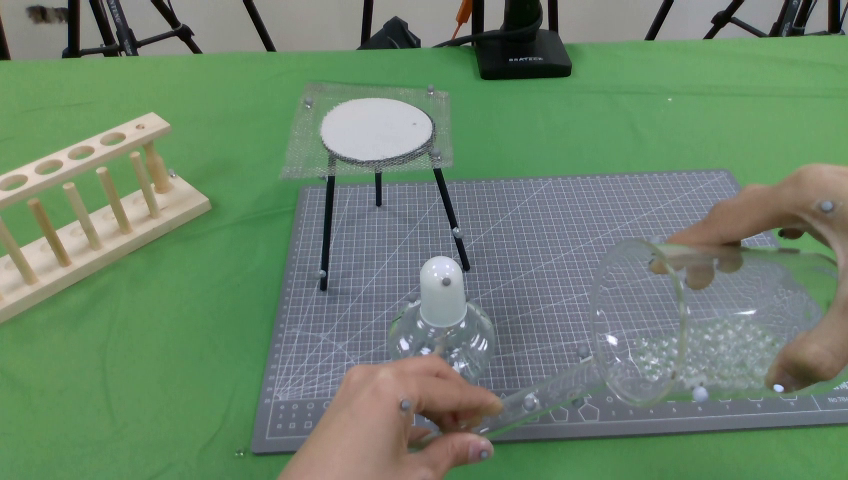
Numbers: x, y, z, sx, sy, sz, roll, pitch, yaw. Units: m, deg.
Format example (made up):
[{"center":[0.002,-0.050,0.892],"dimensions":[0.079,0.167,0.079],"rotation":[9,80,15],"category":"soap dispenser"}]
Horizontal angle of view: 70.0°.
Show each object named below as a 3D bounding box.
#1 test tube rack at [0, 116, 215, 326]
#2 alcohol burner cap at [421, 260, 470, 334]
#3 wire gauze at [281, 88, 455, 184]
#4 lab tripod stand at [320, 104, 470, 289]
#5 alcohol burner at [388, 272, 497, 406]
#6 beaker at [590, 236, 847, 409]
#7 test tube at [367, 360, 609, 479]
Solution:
[{"center":[-0.317,-0.015,0.531],"dimensions":[0.066,0.086,0.242],"rotation":[32,52,31],"category":"test tube rack"},{"center":[0.013,0.034,0.394],"dimensions":[0.034,0.048,0.033],"rotation":[-3,42,3],"category":"alcohol burner cap"},{"center":[-0.038,-0.083,0.462],"dimensions":[0.121,0.011,0.124],"rotation":[0,43,0],"category":"wire gauze"},{"center":[-0.029,-0.035,0.509],"dimensions":[0.148,0.132,0.147],"rotation":[1,41,0],"category":"lab tripod stand"},{"center":[0.013,0.061,0.418],"dimensions":[0.078,0.120,0.077],"rotation":[0,44,0],"category":"alcohol burner"},{"center":[0.139,0.041,0.283],"dimensions":[0.100,0.084,0.073],"rotation":[2,47,-13],"category":"beaker"},{"center":[0.029,0.102,0.324],"dimensions":[0.150,0.017,0.017],"rotation":[-31,38,21],"category":"test tube"}]
